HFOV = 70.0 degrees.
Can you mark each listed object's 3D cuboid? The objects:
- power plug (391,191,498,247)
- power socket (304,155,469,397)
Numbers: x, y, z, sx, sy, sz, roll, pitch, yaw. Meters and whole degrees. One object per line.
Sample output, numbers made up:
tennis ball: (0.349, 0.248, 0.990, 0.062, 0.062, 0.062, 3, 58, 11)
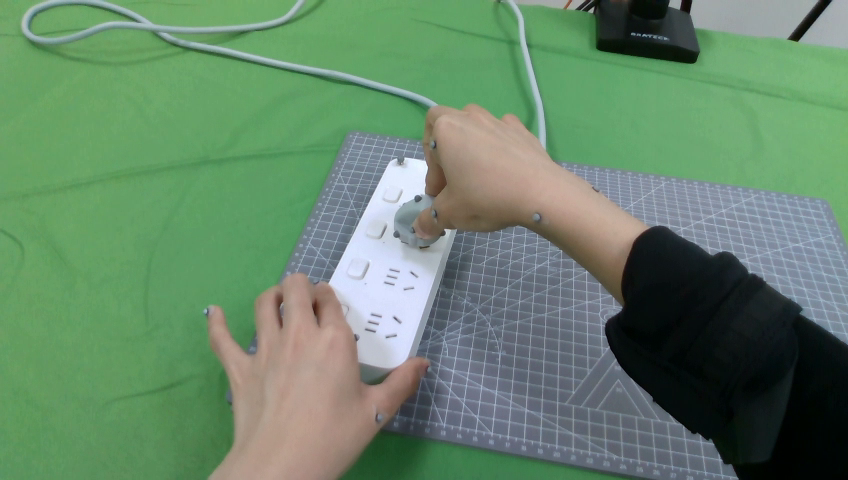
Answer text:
power plug: (0.011, -0.006, 0.432, 0.072, 0.053, 0.035, 25, 56, 14)
power socket: (-0.020, 0.012, 0.454, 0.072, 0.033, 0.225, 14, 47, 8)
